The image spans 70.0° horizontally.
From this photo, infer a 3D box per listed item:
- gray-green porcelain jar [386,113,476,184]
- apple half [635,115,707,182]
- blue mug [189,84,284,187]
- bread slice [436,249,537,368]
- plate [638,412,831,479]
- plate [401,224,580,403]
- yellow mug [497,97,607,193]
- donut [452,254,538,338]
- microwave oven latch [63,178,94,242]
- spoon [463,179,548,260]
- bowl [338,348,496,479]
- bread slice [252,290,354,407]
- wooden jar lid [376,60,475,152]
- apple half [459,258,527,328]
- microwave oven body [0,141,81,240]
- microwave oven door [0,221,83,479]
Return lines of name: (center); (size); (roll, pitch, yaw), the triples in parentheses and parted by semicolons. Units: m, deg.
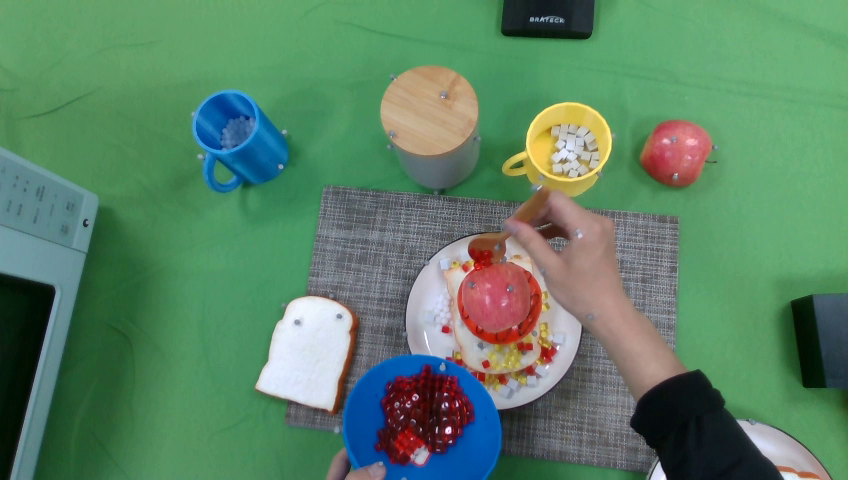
gray-green porcelain jar: (0.010, -0.131, 0.729); (0.106, 0.127, 0.105); (-1, 77, 5)
apple half: (0.303, -0.117, 0.736); (0.074, 0.053, 0.080); (28, 82, 13)
blue mug: (-0.240, -0.120, 0.760); (0.082, 0.106, 0.116); (26, 81, 11)
bread slice: (0.080, 0.083, 0.716); (0.107, 0.018, 0.133); (-13, 79, 4)
plate: (0.331, 0.291, 0.652); (0.209, 0.038, 0.208); (-1, 77, 6)
plate: (0.077, 0.086, 0.717); (0.207, 0.039, 0.206); (-1, 78, 5)
yellow mug: (0.153, -0.110, 0.742); (0.131, 0.064, 0.099); (-16, 76, 3)
donut: (0.081, 0.064, 0.693); (0.099, 0.048, 0.098); (-1, 78, 6)
microwave oven latch: (-0.451, -0.039, 0.779); (0.030, 0.029, 0.079); (10, 80, 7)
spoon: (0.079, -0.015, 0.586); (0.042, 0.194, 0.021); (23, 71, -5)
bowl: (-0.011, 0.189, 0.590); (0.152, 0.077, 0.150); (7, 46, -7)
bread slice: (-0.145, 0.126, 0.741); (0.105, 0.019, 0.131); (13, 81, 7)
wooden jar lid: (0.002, -0.145, 0.667); (0.108, 0.021, 0.108); (-1, 76, 3)
apple half: (0.075, 0.056, 0.658); (0.081, 0.033, 0.081); (-3, 78, 12)
microwave oven body: (-0.629, 0.097, 0.667); (0.325, 0.261, 0.440); (6, 79, 7)
microwave oven door: (-0.491, 0.151, 0.637); (0.039, 0.245, 0.354); (6, 78, 8)
